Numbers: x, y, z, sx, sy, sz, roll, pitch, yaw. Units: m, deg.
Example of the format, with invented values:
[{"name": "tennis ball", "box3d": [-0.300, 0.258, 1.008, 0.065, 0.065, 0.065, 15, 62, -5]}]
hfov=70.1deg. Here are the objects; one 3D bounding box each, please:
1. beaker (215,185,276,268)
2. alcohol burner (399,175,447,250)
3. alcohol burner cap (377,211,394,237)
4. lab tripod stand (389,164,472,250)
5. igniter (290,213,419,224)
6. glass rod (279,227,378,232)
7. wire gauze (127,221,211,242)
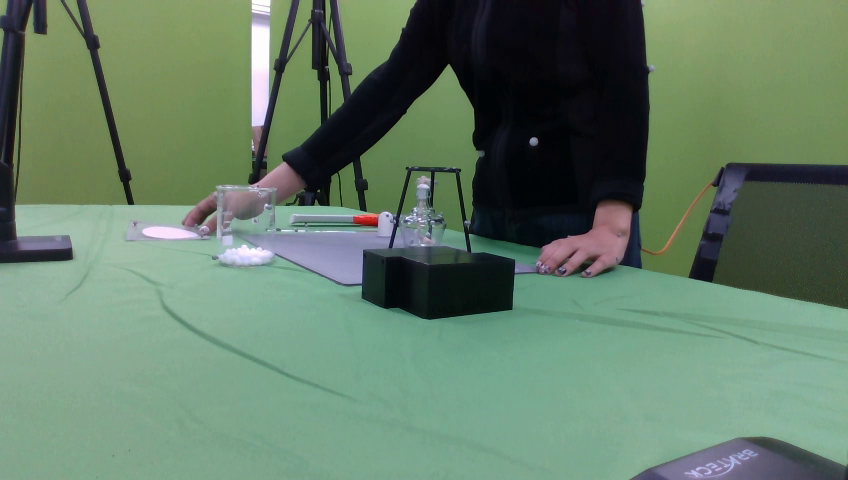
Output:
[{"name": "beaker", "box3d": [-0.226, -0.019, 0.773, 0.074, 0.100, 0.084, 5, 7, 14]}, {"name": "alcohol burner", "box3d": [-0.002, -0.044, 0.961, 0.078, 0.119, 0.078, 1, 8, 0]}, {"name": "alcohol burner cap", "box3d": [-0.070, -0.030, 1.112, 0.034, 0.048, 0.034, 1, 9, 0]}, {"name": "lab tripod stand", "box3d": [0.011, -0.054, 0.960, 0.148, 0.131, 0.148, 2, 9, 0]}, {"name": "igniter", "box3d": [-0.144, -0.046, 1.288, 0.278, 0.025, 0.057, -1, -3, -24]}, {"name": "glass rod", "box3d": [-0.175, -0.021, 1.161, 0.200, 0.008, 0.008, 1, 7, -15]}, {"name": "wire gauze", "box3d": [-0.419, -0.013, 0.998, 0.122, 0.011, 0.124, 3, 13, -24]}]
